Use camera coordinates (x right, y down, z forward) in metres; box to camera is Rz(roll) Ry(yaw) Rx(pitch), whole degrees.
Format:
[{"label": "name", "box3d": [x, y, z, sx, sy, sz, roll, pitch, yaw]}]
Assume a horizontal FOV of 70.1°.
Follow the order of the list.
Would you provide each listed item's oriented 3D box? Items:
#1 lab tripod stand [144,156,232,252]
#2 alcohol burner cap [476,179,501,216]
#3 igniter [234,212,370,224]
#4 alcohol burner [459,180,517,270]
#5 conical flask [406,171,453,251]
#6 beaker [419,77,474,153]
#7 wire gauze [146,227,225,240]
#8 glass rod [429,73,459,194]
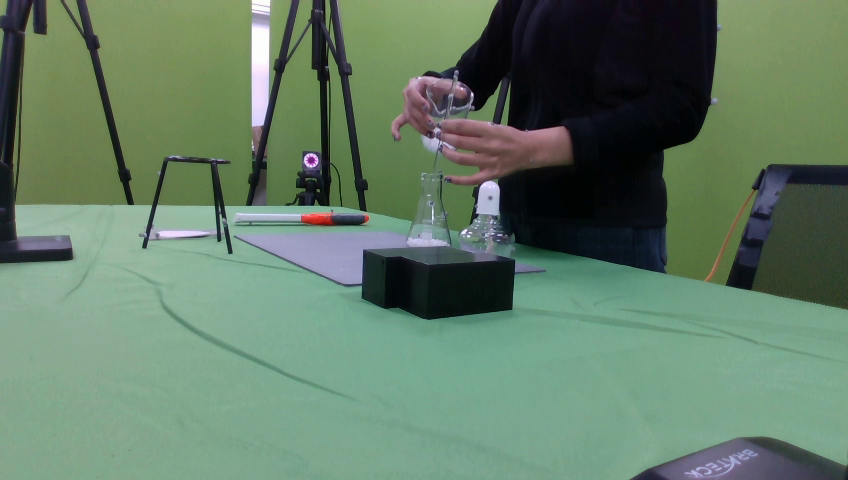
[{"label": "lab tripod stand", "box3d": [-0.325, -0.054, 0.881, 0.148, 0.131, 0.148, 4, 7, 0]}, {"label": "alcohol burner cap", "box3d": [0.086, -0.057, 0.801, 0.034, 0.048, 0.034, 4, 2, 0]}, {"label": "igniter", "box3d": [-0.247, -0.046, 1.253, 0.278, 0.025, 0.057, -1, -3, -27]}, {"label": "alcohol burner", "box3d": [0.086, -0.021, 0.805, 0.078, 0.119, 0.078, 3, 10, 0]}, {"label": "conical flask", "box3d": [0.011, -0.046, 0.948, 0.075, 0.122, 0.075, 2, 8, 0]}, {"label": "beaker", "box3d": [0.032, -0.193, 0.962, 0.074, 0.100, 0.084, 21, 51, 6]}, {"label": "wire gauze", "box3d": [-0.400, -0.012, 1.019, 0.122, 0.011, 0.124, -1, 6, -26]}, {"label": "glass rod", "box3d": [0.028, -0.152, 0.899, 0.008, 0.199, 0.008, 9, 35, -6]}]
